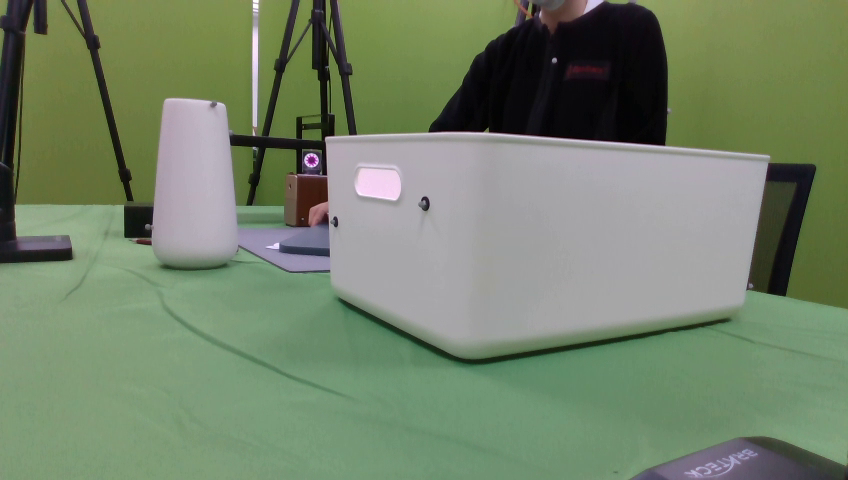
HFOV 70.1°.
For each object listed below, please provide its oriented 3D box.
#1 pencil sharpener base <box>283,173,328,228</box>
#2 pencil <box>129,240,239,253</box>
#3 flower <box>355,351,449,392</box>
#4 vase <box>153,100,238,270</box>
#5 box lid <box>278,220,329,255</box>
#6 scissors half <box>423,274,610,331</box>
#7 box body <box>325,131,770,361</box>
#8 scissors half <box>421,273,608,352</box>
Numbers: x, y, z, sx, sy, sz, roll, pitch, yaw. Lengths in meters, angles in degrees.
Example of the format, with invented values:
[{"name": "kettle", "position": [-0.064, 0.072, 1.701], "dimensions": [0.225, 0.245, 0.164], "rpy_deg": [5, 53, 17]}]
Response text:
[{"name": "pencil sharpener base", "position": [-0.239, -0.081, 1.231], "dimensions": [0.077, 0.107, 0.061], "rpy_deg": [-2, 8, -36]}, {"name": "pencil", "position": [-0.350, 0.008, 0.874], "dimensions": [0.193, 0.012, 0.012], "rpy_deg": [3, 7, 19]}, {"name": "flower", "position": [0.105, 0.075, 0.586], "dimensions": [0.363, 0.044, 0.038], "rpy_deg": [-20, 38, -14]}, {"name": "vase", "position": [-0.278, -0.066, 0.736], "dimensions": [0.098, 0.200, 0.098], "rpy_deg": [2, 9, 0]}, {"name": "box lid", "position": [-0.018, -0.001, 0.959], "dimensions": [0.371, 0.015, 0.263], "rpy_deg": [3, 10, 8]}, {"name": "scissors half", "position": [0.074, 0.056, 0.523], "dimensions": [0.174, 0.040, 0.013], "rpy_deg": [12, 49, 29]}, {"name": "box body", "position": [0.112, -0.010, 0.583], "dimensions": [0.366, 0.160, 0.253], "rpy_deg": [-2, 9, -33]}, {"name": "scissors half", "position": [0.076, 0.066, 0.534], "dimensions": [0.174, 0.040, 0.013], "rpy_deg": [17, 57, 25]}]
